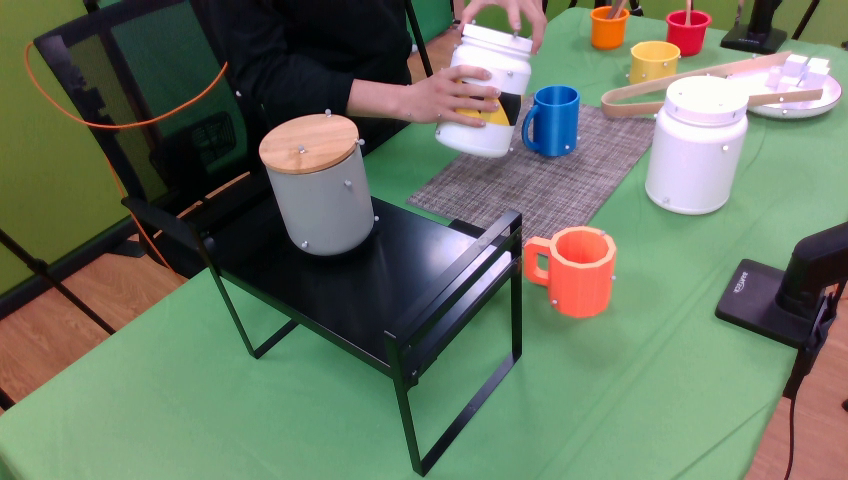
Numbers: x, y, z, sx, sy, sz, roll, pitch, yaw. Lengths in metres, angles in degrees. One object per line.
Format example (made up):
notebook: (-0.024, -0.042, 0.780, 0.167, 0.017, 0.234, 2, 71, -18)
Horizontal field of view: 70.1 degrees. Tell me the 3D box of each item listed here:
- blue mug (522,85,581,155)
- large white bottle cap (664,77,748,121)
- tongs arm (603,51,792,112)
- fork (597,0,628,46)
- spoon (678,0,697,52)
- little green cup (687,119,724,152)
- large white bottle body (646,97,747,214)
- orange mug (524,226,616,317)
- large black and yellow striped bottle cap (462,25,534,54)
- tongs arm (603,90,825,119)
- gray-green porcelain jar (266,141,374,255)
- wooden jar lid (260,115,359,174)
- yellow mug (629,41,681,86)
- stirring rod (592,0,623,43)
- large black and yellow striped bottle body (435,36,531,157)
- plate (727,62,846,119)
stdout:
blue mug: (0.233, -0.218, 1.127, 0.117, 0.106, 0.081, -23, 43, -16)
large white bottle cap: (0.421, -0.212, 0.905, 0.115, 0.018, 0.114, -4, 40, 4)
tongs arm: (0.552, -0.320, 1.223, 0.384, 0.027, 0.050, -10, 44, 7)
fork: (0.479, -0.558, 1.455, 0.028, 0.019, 0.207, 35, 100, 38)
spoon: (0.614, -0.526, 1.402, 0.041, 0.022, 0.193, 3, 86, 11)
little green cup: (0.514, -0.191, 1.109, 0.061, 0.039, 0.061, -5, 40, 5)
large white bottle body: (0.431, -0.148, 0.959, 0.130, 0.185, 0.130, -4, 41, 4)
orange mug: (0.201, 0.039, 0.845, 0.125, 0.101, 0.083, 18, 47, 21)
large black and yellow striped bottle cap: (0.118, -0.319, 0.960, 0.115, 0.019, 0.114, 14, 20, -5)
tongs arm: (0.546, -0.262, 1.162, 0.386, 0.028, 0.028, -1, 49, 18)
gray-green porcelain jar: (-0.117, -0.054, 0.703, 0.106, 0.127, 0.105, -4, 40, 4)
wooden jar lid: (-0.124, -0.101, 0.662, 0.108, 0.021, 0.108, -4, 41, 4)
yellow mug: (0.495, -0.389, 1.321, 0.100, 0.064, 0.130, -14, 40, -7)
stirring rod: (0.460, -0.557, 1.461, 0.014, 0.176, 0.006, 35, 11, 22)
large black and yellow striped bottle body: (0.099, -0.241, 0.990, 0.131, 0.184, 0.130, 12, 21, -4)
plate: (0.709, -0.292, 1.197, 0.207, 0.039, 0.206, -4, 40, 4)
